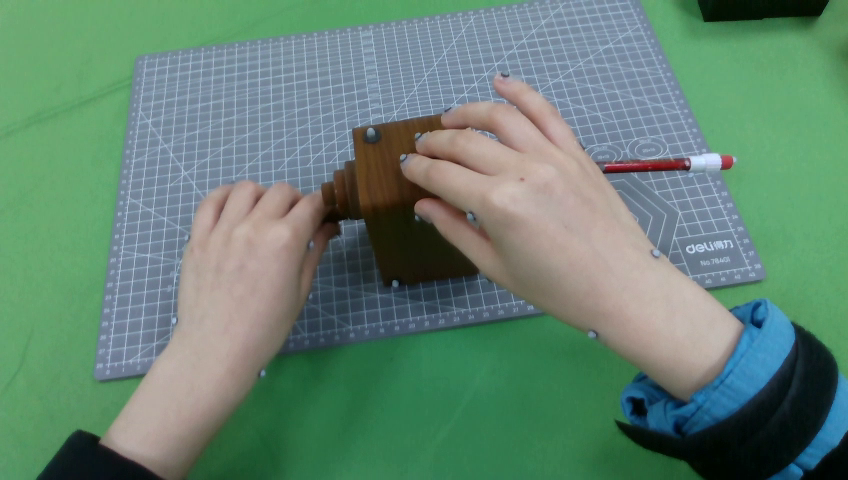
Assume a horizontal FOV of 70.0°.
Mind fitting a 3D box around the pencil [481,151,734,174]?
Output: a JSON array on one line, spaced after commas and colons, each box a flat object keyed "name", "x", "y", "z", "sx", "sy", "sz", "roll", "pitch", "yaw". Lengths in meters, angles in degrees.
[{"name": "pencil", "x": 0.095, "y": -0.046, "z": 0.368, "sx": 0.194, "sy": 0.012, "sz": 0.012, "roll": -2, "pitch": 60, "yaw": -6}]

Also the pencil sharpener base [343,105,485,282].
[{"name": "pencil sharpener base", "x": -0.005, "y": -0.024, "z": 0.383, "sx": 0.077, "sy": 0.108, "sz": 0.061, "roll": -9, "pitch": 61, "yaw": -1}]

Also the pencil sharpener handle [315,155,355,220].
[{"name": "pencil sharpener handle", "x": -0.057, "y": -0.026, "z": 0.373, "sx": 0.030, "sy": 0.068, "sz": 0.036, "roll": -9, "pitch": 77, "yaw": -1}]
